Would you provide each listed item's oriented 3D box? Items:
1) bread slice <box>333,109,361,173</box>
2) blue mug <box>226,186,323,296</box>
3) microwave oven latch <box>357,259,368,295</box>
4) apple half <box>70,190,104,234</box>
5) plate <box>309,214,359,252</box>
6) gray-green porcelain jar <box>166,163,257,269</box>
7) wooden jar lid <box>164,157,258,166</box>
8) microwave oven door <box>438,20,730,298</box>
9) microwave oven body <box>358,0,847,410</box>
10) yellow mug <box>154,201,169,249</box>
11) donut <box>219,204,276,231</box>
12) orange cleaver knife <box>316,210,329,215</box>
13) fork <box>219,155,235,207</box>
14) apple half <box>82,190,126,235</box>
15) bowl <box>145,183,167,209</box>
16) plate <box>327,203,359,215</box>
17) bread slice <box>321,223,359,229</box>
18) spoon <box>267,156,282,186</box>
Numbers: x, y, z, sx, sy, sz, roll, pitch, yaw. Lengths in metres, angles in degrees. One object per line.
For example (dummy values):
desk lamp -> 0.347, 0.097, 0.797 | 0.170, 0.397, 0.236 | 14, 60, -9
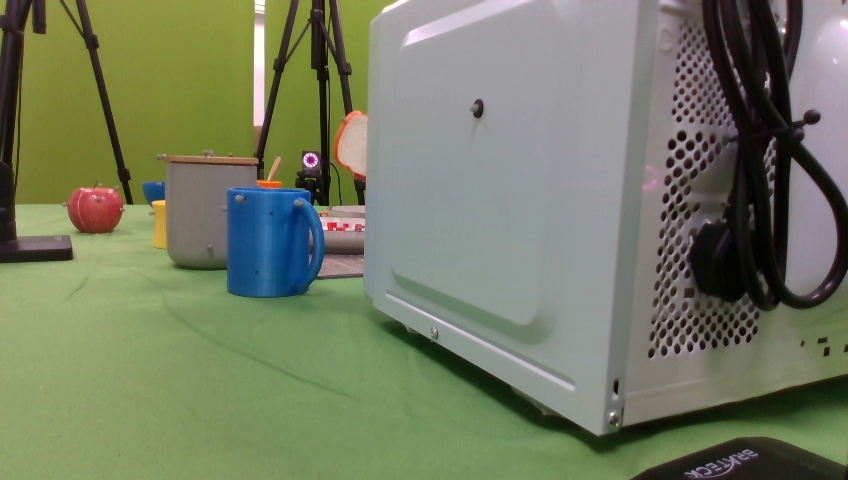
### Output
bread slice -> -0.086, -0.159, 1.013 | 0.135, 0.107, 0.018 | 23, 4, -36
blue mug -> -0.148, 0.000, 0.618 | 0.116, 0.106, 0.083 | 7, 9, 33
microwave oven latch -> -0.019, 0.031, 0.529 | 0.079, 0.029, 0.030 | -1, 7, -26
apple half -> -0.552, -0.047, 1.009 | 0.053, 0.074, 0.081 | 0, 9, 26
plate -> -0.130, -0.012, 0.945 | 0.208, 0.039, 0.207 | 2, 8, 0
gray-green porcelain jar -> -0.263, -0.031, 0.754 | 0.106, 0.126, 0.106 | 2, 7, 0
wooden jar lid -> -0.261, -0.093, 0.746 | 0.108, 0.020, 0.108 | 1, 9, 0
microwave oven door -> 0.181, -0.076, 0.618 | 0.358, 0.243, 0.039 | -2, 8, -28
microwave oven body -> 0.210, -0.051, 0.471 | 0.444, 0.260, 0.324 | -1, 7, -28
yellow mug -> -0.338, -0.022, 0.899 | 0.130, 0.064, 0.100 | 8, 9, 34
donut -> -0.316, -0.038, 1.083 | 0.099, 0.048, 0.099 | 3, 7, 0
orange cleaver knife -> -0.259, -0.064, 1.423 | 0.212, 0.012, 0.077 | -4, 3, -30
fork -> -0.459, -0.134, 1.415 | 0.028, 0.018, 0.207 | -1, -34, -24
apple half -> -0.517, -0.046, 0.994 | 0.032, 0.081, 0.081 | 0, 6, 26
bowl -> -0.459, -0.068, 1.175 | 0.151, 0.077, 0.151 | 2, 7, 0
plate -> -0.102, -0.053, 1.299 | 0.209, 0.038, 0.209 | 2, 8, 0
bread slice -> -0.125, -0.010, 0.938 | 0.131, 0.019, 0.105 | 7, 9, 31
spoon -> -0.391, -0.150, 1.547 | 0.041, 0.193, 0.022 | 2, -37, 8
